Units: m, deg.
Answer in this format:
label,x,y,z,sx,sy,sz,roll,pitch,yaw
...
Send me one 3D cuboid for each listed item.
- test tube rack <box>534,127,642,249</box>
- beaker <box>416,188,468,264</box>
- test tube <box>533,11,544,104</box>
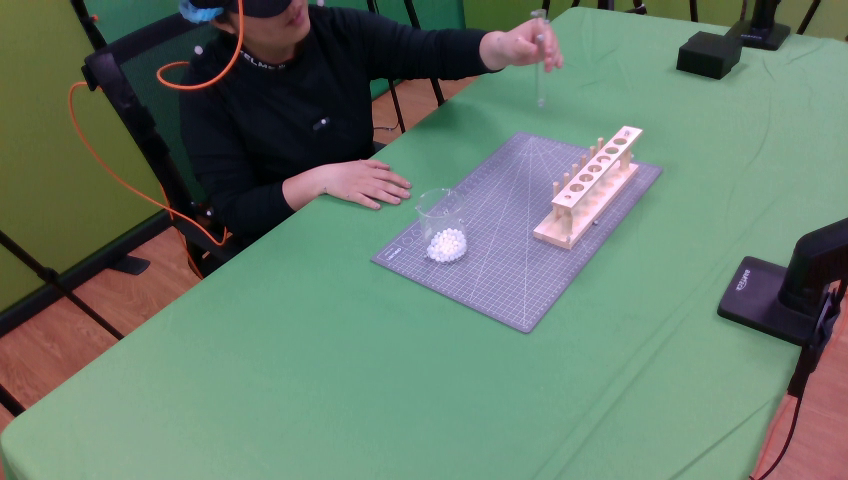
label,x,y,z,sx,sy,sz,roll,pitch,yaw
test tube rack,0.271,-0.094,0.990,0.066,0.085,0.243,23,49,33
beaker,0.032,-0.021,0.937,0.073,0.101,0.084,9,42,20
test tube,0.185,-0.291,0.974,0.017,0.151,0.017,-6,35,4
